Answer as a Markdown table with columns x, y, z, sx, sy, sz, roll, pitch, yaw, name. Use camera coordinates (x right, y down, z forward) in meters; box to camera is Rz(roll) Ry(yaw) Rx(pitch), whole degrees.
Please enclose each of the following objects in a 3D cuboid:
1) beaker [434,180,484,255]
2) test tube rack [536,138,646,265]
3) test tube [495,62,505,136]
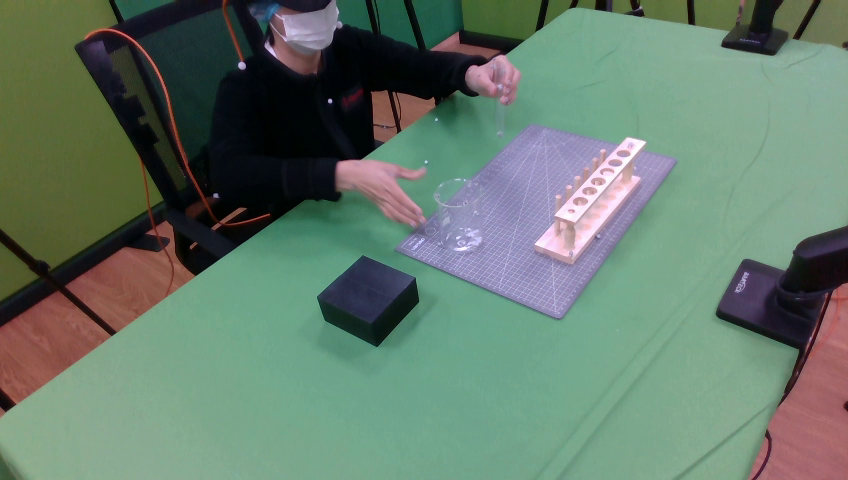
| x | y | z | sx | sy | sz | roll | pitch | yaw | name |
| --- | --- | --- | --- | --- | --- | --- | --- | --- | --- |
| 0.058 | -0.035 | 0.944 | 0.073 | 0.100 | 0.084 | 16 | 44 | 26 | beaker |
| 0.268 | -0.071 | 0.964 | 0.066 | 0.085 | 0.243 | 23 | 49 | 32 | test tube rack |
| 0.130 | -0.235 | 1.029 | 0.017 | 0.151 | 0.017 | -4 | 51 | 5 | test tube |
